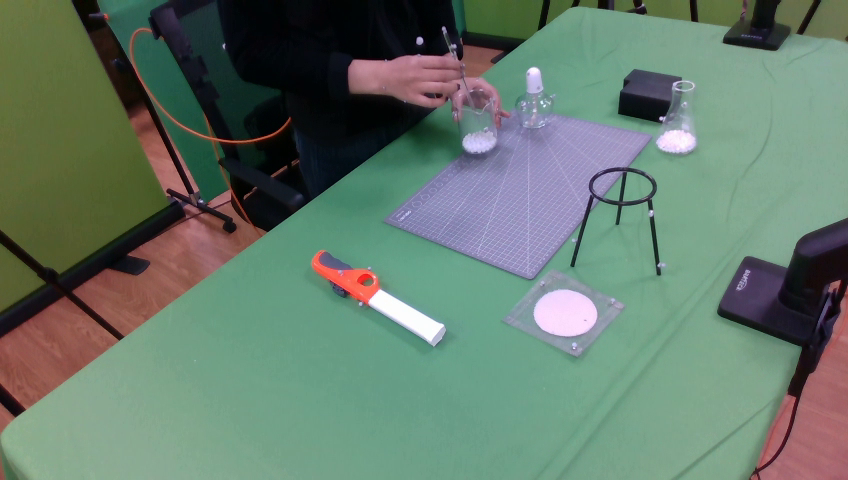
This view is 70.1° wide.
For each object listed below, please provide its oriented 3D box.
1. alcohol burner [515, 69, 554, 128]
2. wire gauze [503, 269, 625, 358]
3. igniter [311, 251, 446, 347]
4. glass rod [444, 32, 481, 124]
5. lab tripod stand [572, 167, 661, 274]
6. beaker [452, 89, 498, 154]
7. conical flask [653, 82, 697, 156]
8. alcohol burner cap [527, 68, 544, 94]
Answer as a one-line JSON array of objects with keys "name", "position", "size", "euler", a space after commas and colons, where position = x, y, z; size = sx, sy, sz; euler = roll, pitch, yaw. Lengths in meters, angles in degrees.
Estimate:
[{"name": "alcohol burner", "position": [0.221, -0.285, 1.203], "size": [0.078, 0.119, 0.077], "euler": [-4, 39, 4]}, {"name": "wire gauze", "position": [0.194, 0.100, 0.840], "size": [0.120, 0.011, 0.125], "euler": [27, 54, 36]}, {"name": "igniter", "position": [-0.078, 0.081, 0.899], "size": [0.274, 0.025, 0.057], "euler": [27, 62, 35]}, {"name": "glass rod", "position": [0.070, -0.274, 1.044], "size": [0.008, 0.201, 0.008], "euler": [-13, 50, 16]}, {"name": "lab tripod stand", "position": [0.283, -0.030, 0.879], "size": [0.148, 0.132, 0.147], "euler": [-7, 38, 6]}, {"name": "beaker", "position": [0.099, -0.216, 1.121], "size": [0.074, 0.101, 0.083], "euler": [-17, 40, -3]}, {"name": "conical flask", "position": [0.454, -0.218, 1.077], "size": [0.075, 0.122, 0.075], "euler": [-5, 40, 5]}, {"name": "alcohol burner cap", "position": [0.216, -0.312, 1.179], "size": [0.034, 0.048, 0.033], "euler": [-9, 40, 9]}]
